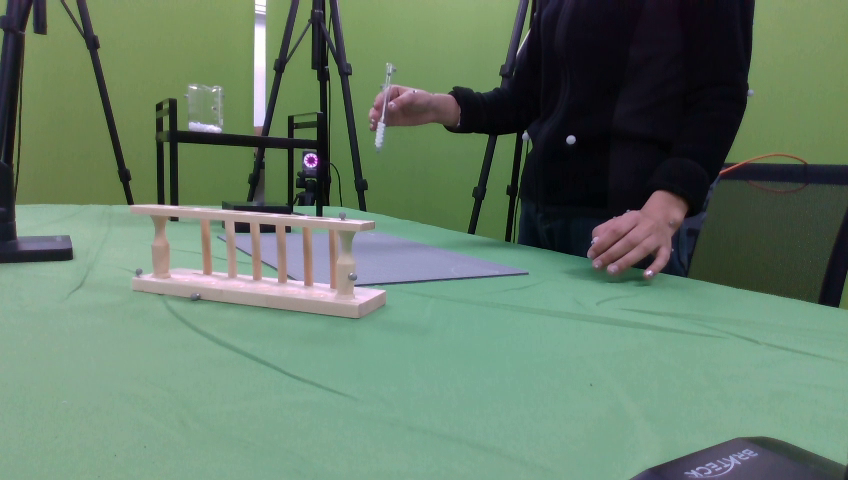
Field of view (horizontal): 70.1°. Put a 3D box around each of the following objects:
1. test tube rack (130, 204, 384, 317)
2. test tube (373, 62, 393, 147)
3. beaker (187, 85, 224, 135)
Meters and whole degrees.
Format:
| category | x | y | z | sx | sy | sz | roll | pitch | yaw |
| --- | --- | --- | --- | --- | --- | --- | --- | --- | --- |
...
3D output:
| category | x | y | z | sx | sy | sz | roll | pitch | yaw |
| --- | --- | --- | --- | --- | --- | --- | --- | --- | --- |
| test tube rack | -0.163 | 0.013 | 0.589 | 0.242 | 0.085 | 0.067 | 5 | 8 | 17 |
| test tube | -0.073 | -0.235 | 1.052 | 0.017 | 0.150 | 0.017 | 8 | -4 | 1 |
| beaker | -0.466 | -0.276 | 1.296 | 0.074 | 0.100 | 0.083 | -3 | 10 | -35 |
